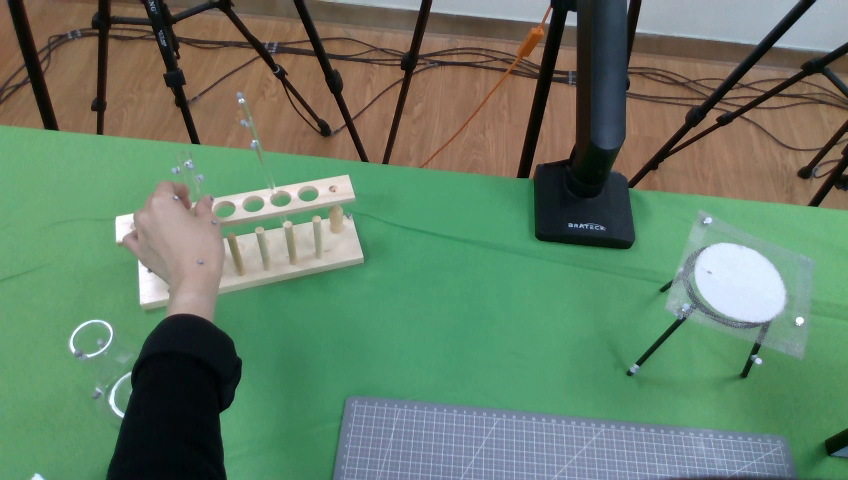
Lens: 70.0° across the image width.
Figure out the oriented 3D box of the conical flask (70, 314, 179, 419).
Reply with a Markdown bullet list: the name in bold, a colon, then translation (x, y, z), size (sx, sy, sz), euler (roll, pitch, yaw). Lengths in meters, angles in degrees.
- **conical flask**: translation (-0.281, 0.111, 0.560), size (0.075, 0.123, 0.074), euler (2, 55, -2)

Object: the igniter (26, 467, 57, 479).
- **igniter**: translation (-0.390, 0.284, 0.436), size (0.057, 0.025, 0.276), euler (28, 57, 26)

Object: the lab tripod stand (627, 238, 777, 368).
- **lab tripod stand**: translation (0.287, 0.071, 0.620), size (0.148, 0.132, 0.147), euler (3, 55, -4)

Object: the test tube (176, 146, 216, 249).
- **test tube**: translation (-0.234, -0.038, 0.627), size (0.017, 0.151, 0.017), euler (4, 52, -5)

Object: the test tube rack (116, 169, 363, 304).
- **test tube rack**: translation (-0.194, -0.005, 0.666), size (0.243, 0.086, 0.066), euler (-12, 57, -12)

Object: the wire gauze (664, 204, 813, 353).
- **wire gauze**: translation (0.298, 0.032, 0.565), size (0.121, 0.011, 0.124), euler (24, 58, 10)

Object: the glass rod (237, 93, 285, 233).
- **glass rod**: translation (-0.164, -0.069, 0.632), size (0.008, 0.201, 0.008), euler (-2, 50, 2)
